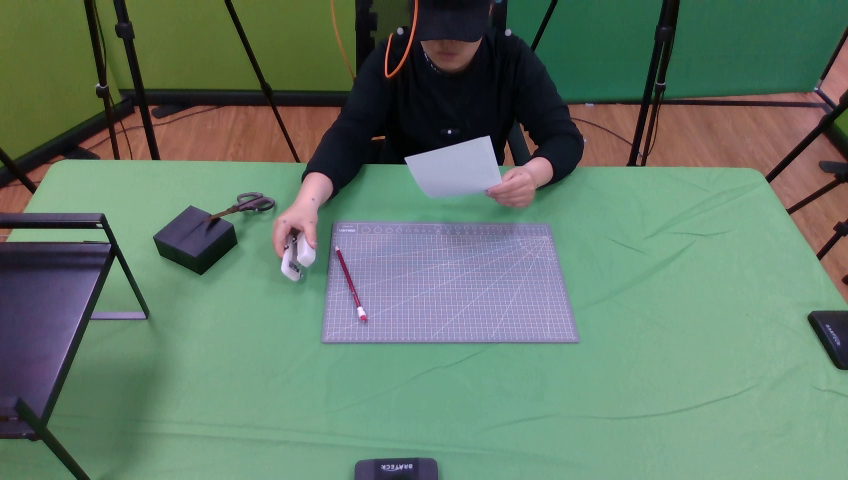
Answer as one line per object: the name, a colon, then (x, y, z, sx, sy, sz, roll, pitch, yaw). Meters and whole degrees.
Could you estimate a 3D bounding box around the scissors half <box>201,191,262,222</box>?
scissors half: (-0.381, -0.066, 1.198, 0.040, 0.013, 0.175, 25, 28, 9)

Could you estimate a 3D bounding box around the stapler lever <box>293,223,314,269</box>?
stapler lever: (-0.222, 0.007, 1.127, 0.040, 0.027, 0.117, -32, 35, 20)

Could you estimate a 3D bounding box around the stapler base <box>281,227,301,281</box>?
stapler base: (-0.239, 0.021, 1.135, 0.024, 0.041, 0.129, -33, 35, 19)

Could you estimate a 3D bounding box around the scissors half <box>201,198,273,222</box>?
scissors half: (-0.365, -0.055, 1.192, 0.040, 0.013, 0.175, 39, 32, 22)

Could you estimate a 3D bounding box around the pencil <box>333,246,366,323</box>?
pencil: (-0.140, 0.077, 1.116, 0.012, 0.012, 0.192, -14, 48, -17)
